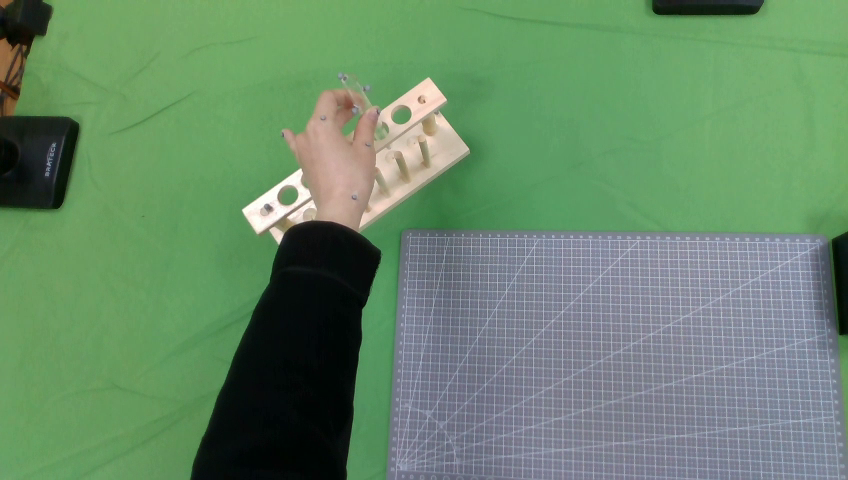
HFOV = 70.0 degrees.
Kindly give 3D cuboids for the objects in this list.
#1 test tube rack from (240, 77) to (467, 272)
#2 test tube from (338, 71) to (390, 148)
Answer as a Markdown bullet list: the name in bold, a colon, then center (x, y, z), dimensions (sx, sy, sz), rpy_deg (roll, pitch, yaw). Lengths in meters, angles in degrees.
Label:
- **test tube rack**: center (-0.071, -0.068, 0.669), dimensions (0.242, 0.086, 0.066), rpy_deg (-36, 74, -2)
- **test tube**: center (-0.057, -0.126, 0.607), dimensions (0.017, 0.151, 0.017), rpy_deg (-2, 76, 9)
